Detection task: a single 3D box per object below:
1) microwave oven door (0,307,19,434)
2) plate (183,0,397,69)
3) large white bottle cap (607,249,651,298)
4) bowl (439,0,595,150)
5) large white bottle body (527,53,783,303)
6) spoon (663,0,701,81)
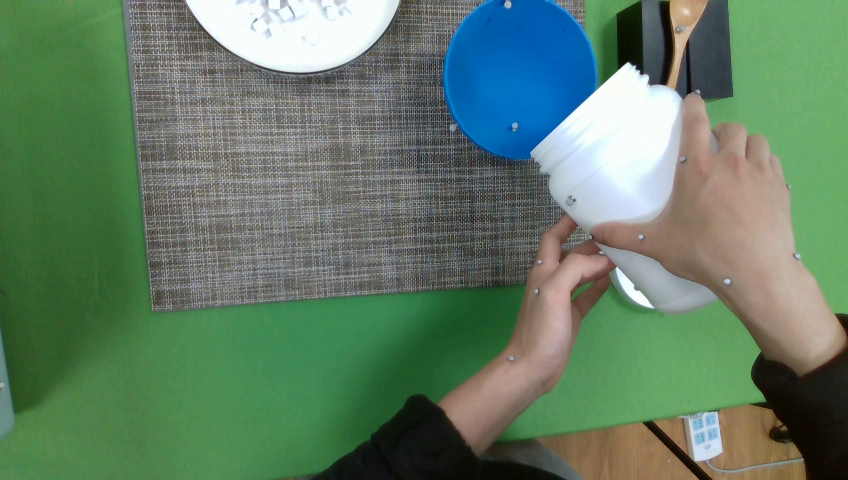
[{"bbox_3d":[-0.372,-0.001,0.409,0.039,0.242,0.356,-7,97,-12],"label":"microwave oven door"},{"bbox_3d":[-0.124,-0.260,0.558,0.210,0.038,0.209,-1,93,-13],"label":"plate"},{"bbox_3d":[0.263,0.009,0.687,0.115,0.018,0.115,-1,96,-14],"label":"large white bottle cap"},{"bbox_3d":[0.081,-0.161,0.593,0.152,0.076,0.151,-1,96,-12],"label":"bowl"},{"bbox_3d":[0.188,-0.053,0.514,0.130,0.130,0.184,-43,91,-5],"label":"large white bottle body"},{"bbox_3d":[0.249,-0.182,0.616,0.042,0.021,0.194,8,99,-16],"label":"spoon"}]
